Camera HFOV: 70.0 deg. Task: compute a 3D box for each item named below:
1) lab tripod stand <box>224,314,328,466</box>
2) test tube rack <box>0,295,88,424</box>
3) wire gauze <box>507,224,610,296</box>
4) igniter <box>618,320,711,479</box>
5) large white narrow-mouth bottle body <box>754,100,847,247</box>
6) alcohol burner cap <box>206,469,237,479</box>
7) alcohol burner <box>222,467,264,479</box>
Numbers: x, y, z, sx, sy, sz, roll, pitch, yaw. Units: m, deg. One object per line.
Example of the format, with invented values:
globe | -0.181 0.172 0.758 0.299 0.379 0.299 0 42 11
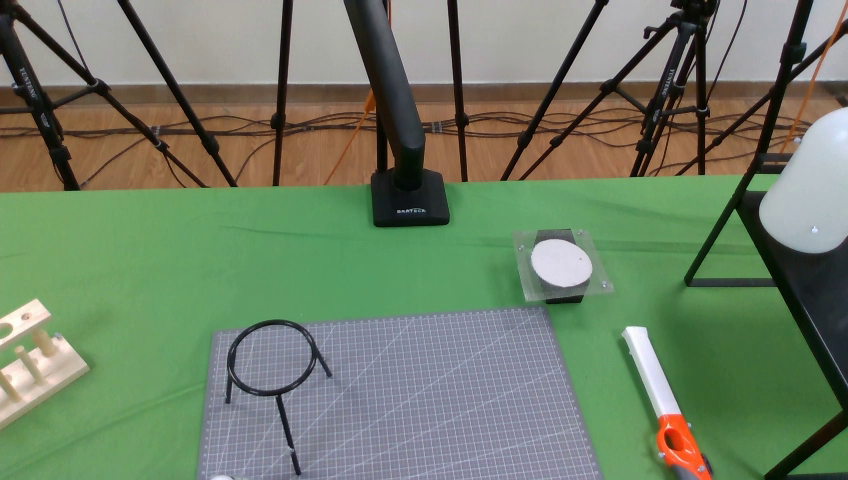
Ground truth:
lab tripod stand | -0.160 0.158 0.669 0.148 0.132 0.147 4 49 -4
test tube rack | -0.512 0.172 0.659 0.066 0.086 0.242 35 54 24
wire gauze | 0.185 0.024 0.844 0.122 0.011 0.123 -2 49 -7
igniter | 0.296 0.216 0.736 0.057 0.025 0.273 5 47 -15
large white narrow-mouth bottle body | 0.454 -0.088 0.666 0.102 0.196 0.101 3 48 -2
alcohol burner cap | -0.188 0.232 0.565 0.034 0.048 0.033 2 54 -3
alcohol burner | -0.191 0.255 0.593 0.078 0.120 0.077 4 47 -4
